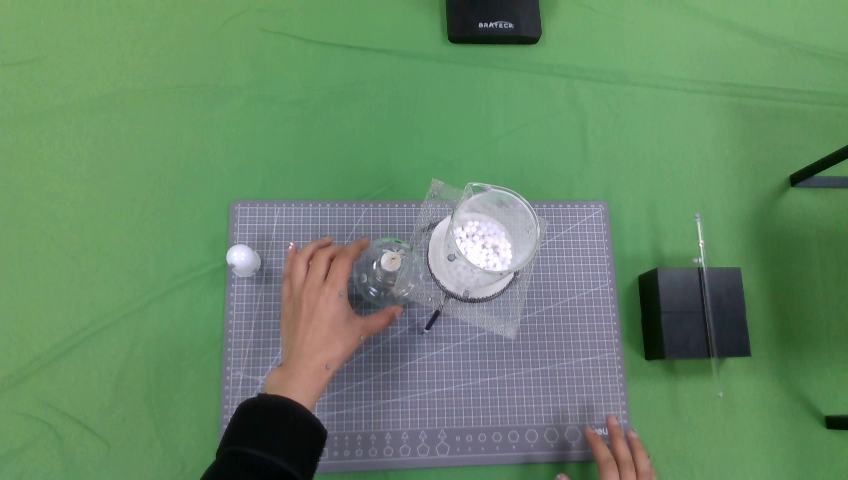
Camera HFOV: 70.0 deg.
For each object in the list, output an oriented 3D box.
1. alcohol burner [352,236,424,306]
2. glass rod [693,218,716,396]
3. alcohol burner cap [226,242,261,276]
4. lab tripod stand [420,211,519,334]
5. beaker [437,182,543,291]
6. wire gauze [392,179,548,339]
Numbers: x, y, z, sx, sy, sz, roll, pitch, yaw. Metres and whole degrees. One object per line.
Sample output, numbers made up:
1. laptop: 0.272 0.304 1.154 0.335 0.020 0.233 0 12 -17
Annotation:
1. alcohol burner: -0.036 0.029 0.640 0.078 0.119 0.077 2 75 -8
2. glass rod: 0.313 0.072 0.676 0.008 0.008 0.198 1 78 -5
3. alcohol burner cap: -0.199 0.019 0.662 0.034 0.048 0.033 1 76 -5
4. lab tripod stand: 0.044 0.029 0.639 0.148 0.132 0.147 2 75 -6
5. beaker: 0.050 0.001 0.529 0.074 0.100 0.083 -24 80 -12
6. wire gauze: 0.046 0.016 0.575 0.125 0.011 0.121 22 77 -4
